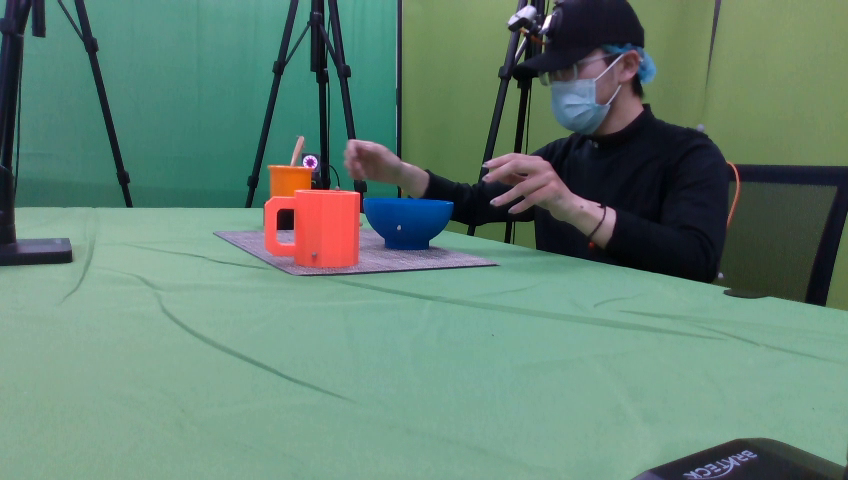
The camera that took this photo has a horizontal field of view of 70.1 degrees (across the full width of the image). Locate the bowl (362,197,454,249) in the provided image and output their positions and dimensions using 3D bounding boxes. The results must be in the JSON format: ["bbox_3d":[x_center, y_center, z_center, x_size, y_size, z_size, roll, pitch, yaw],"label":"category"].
[{"bbox_3d":[-0.027,-0.029,0.991,0.151,0.077,0.151,2,7,0],"label":"bowl"}]

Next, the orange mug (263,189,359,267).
[{"bbox_3d":[-0.147,-0.019,0.794,0.127,0.100,0.083,5,6,-19],"label":"orange mug"}]

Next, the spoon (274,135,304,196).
[{"bbox_3d":[-0.270,-0.153,1.246,0.041,0.193,0.022,0,-37,8],"label":"spoon"}]
